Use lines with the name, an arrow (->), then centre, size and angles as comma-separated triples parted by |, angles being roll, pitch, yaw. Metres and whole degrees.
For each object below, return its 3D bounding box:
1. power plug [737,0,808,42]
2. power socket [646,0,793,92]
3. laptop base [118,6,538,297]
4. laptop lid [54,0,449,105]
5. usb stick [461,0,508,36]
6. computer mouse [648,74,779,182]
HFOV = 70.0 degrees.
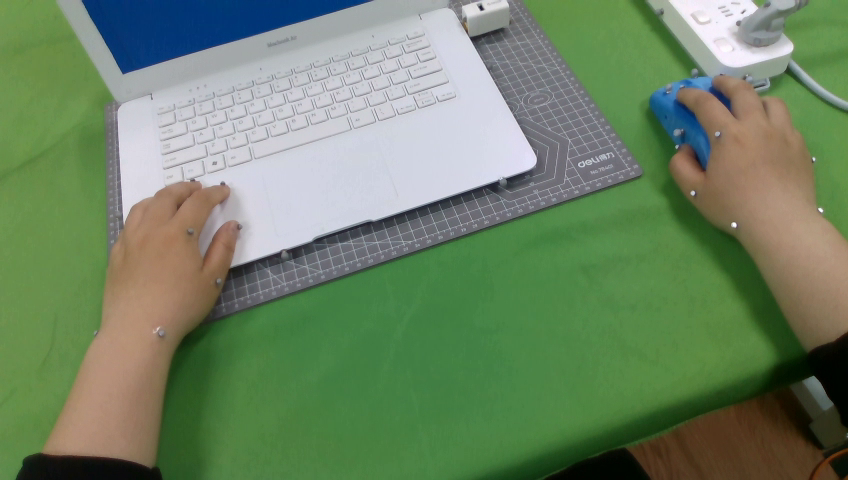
power plug -> 0.317, -0.193, 0.536 | 0.072, 0.053, 0.035 | -7, 58, 3
power socket -> 0.271, -0.232, 0.594 | 0.072, 0.033, 0.224 | -16, 56, -2
laptop base -> -0.101, -0.096, 0.562 | 0.354, 0.023, 0.233 | -19, 59, -5
laptop lid -> -0.160, -0.270, 0.545 | 0.357, 0.244, 0.013 | -20, 43, -4
usb stick -> 0.054, -0.225, 0.611 | 0.059, 0.027, 0.021 | -19, 56, -1
computer mouse -> 0.240, -0.101, 0.508 | 0.063, 0.041, 0.116 | -17, 51, -1
